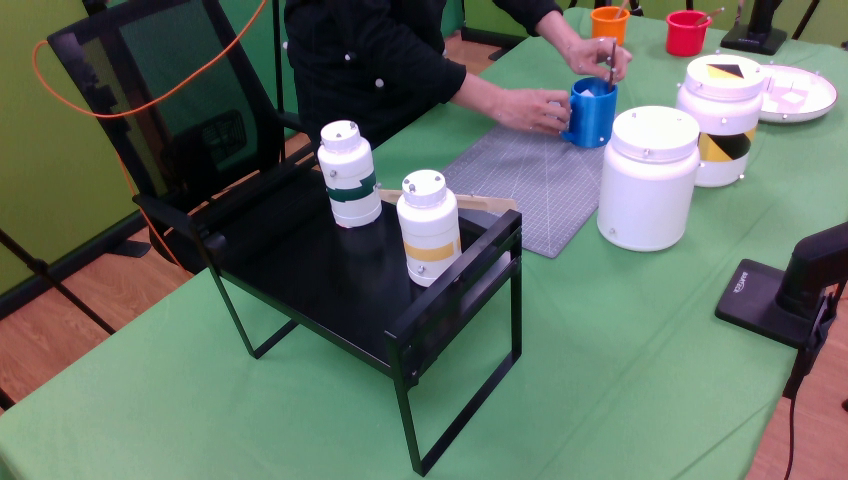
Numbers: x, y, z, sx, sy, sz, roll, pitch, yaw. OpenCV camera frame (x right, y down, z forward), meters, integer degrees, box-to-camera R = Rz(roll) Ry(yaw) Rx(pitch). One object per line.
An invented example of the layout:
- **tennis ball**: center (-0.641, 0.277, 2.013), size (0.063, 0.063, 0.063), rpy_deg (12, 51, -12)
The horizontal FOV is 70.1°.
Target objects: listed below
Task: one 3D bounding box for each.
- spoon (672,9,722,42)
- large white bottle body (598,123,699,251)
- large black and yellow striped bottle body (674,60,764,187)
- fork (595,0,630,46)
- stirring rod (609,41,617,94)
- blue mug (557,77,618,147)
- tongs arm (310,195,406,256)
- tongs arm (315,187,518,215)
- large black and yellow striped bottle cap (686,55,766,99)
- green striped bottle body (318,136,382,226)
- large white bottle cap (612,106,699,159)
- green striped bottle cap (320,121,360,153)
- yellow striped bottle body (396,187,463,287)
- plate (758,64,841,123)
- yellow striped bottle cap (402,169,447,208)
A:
- **spoon**: center (0.606, -0.476, 1.345), size (0.042, 0.021, 0.193), rpy_deg (-6, -3, -2)
- **large white bottle body**: center (0.334, -0.090, 0.906), size (0.130, 0.185, 0.130), rpy_deg (-5, 41, 5)
- **large black and yellow striped bottle body**: center (0.482, -0.196, 1.008), size (0.131, 0.185, 0.130), rpy_deg (-4, 41, 4)
- **fork**: center (0.480, -0.556, 1.453), size (0.028, 0.019, 0.207), rpy_deg (41, 104, 41)
- **stirring rod**: center (0.338, -0.274, 1.090), size (0.006, 0.177, 0.014), rpy_deg (6, 45, 18)
- **blue mug**: center (0.303, -0.236, 1.139), size (0.117, 0.106, 0.081), rpy_deg (-19, 42, -12)
- **tongs arm**: center (-0.078, -0.012, 0.944), size (0.028, 0.028, 0.384), rpy_deg (-43, 39, -22)
- **tongs arm**: center (-0.028, -0.060, 0.988), size (0.382, 0.027, 0.051), rpy_deg (10, 45, 36)
- **large black and yellow striped bottle cap**: center (0.474, -0.258, 0.952), size (0.115, 0.019, 0.114), rpy_deg (-5, 41, 5)
- **green striped bottle body**: center (-0.090, -0.080, 0.733), size (0.063, 0.120, 0.063), rpy_deg (-5, 41, 4)
- **large white bottle cap**: center (0.325, -0.153, 0.850), size (0.115, 0.018, 0.114), rpy_deg (-4, 41, 4)
- **green striped bottle cap**: center (-0.097, -0.120, 0.699), size (0.044, 0.020, 0.044), rpy_deg (-3, 40, 3)
- **yellow striped bottle body**: center (0.006, -0.013, 0.638), size (0.063, 0.121, 0.062), rpy_deg (-5, 41, 4)
- **plate**: center (0.694, -0.283, 1.189), size (0.207, 0.039, 0.206), rpy_deg (-4, 40, 4)
- **yellow striped bottle cap**: center (0.000, -0.052, 0.604), size (0.044, 0.019, 0.044), rpy_deg (-5, 43, 5)
